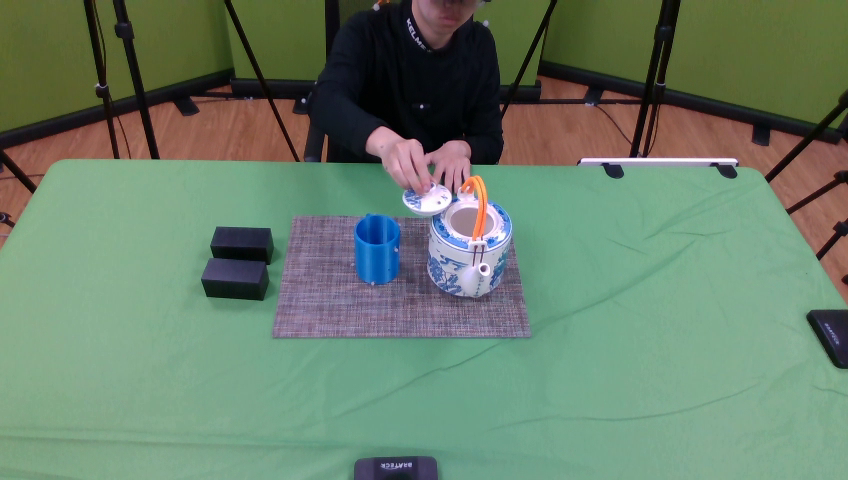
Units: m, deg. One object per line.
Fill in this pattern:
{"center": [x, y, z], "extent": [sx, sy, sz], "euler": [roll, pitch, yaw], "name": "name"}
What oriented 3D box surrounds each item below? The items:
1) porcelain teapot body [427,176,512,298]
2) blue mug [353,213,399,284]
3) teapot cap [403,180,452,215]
{"center": [0.085, 0.009, 1.051], "extent": [0.145, 0.226, 0.204], "euler": [-5, 47, -8], "name": "porcelain teapot body"}
{"center": [-0.093, 0.006, 1.123], "extent": [0.082, 0.106, 0.115], "euler": [-12, 48, -15], "name": "blue mug"}
{"center": [0.006, -0.077, 1.033], "extent": [0.085, 0.044, 0.084], "euler": [2, 41, -1], "name": "teapot cap"}
